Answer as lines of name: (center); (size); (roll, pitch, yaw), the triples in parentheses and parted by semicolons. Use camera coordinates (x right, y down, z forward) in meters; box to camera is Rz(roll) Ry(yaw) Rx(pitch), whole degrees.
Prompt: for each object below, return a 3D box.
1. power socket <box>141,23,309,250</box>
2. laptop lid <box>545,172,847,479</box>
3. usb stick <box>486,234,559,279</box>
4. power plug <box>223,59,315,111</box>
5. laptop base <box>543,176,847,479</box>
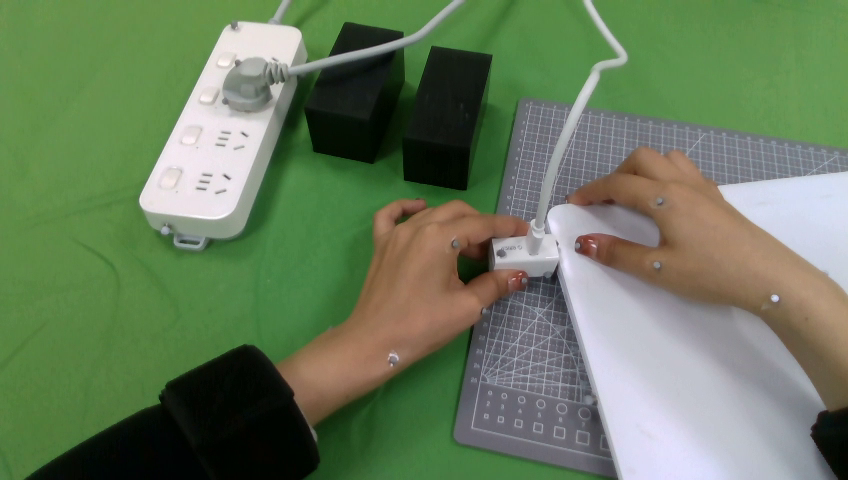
power socket: (-0.152, -0.095, 0.486); (0.072, 0.033, 0.225); (9, 57, 3)
laptop lid: (0.274, 0.056, 0.391); (0.357, 0.013, 0.239); (-5, 60, -4)
usb stick: (0.073, 0.011, 0.414); (0.059, 0.027, 0.021); (-2, 54, -9)
power plug: (-0.121, -0.111, 0.469); (0.072, 0.053, 0.035); (17, 59, 10)
laptop base: (0.274, 0.060, 0.402); (0.355, 0.023, 0.233); (-6, 61, -5)
